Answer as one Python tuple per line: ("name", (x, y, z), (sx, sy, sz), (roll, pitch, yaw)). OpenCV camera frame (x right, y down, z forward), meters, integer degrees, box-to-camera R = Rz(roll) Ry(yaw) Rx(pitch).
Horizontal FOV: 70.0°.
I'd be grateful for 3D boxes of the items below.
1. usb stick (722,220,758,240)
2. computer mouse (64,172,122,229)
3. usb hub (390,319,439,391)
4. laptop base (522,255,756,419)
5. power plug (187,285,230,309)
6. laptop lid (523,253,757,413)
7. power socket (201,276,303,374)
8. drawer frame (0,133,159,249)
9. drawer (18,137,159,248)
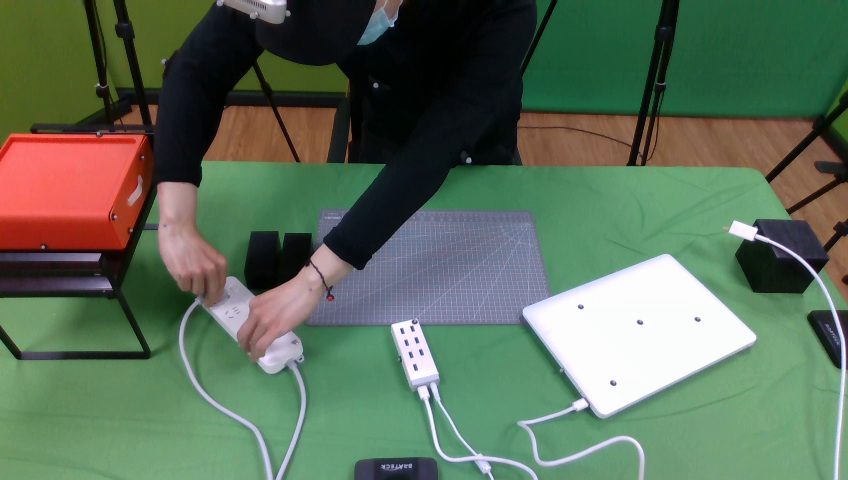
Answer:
("usb stick", (0.593, -0.022, 1.139), (0.059, 0.027, 0.021), (22, 12, 28))
("computer mouse", (-0.521, -0.067, 0.955), (0.063, 0.041, 0.116), (1, 48, -9))
("usb hub", (-0.016, 0.190, 1.013), (0.049, 0.025, 0.124), (-10, 48, -15))
("laptop base", (0.381, 0.157, 1.080), (0.355, 0.023, 0.234), (-18, 48, -20))
("power plug", (-0.370, 0.103, 1.039), (0.072, 0.053, 0.035), (-26, 54, -23))
("laptop lid", (0.380, 0.147, 1.073), (0.357, 0.013, 0.240), (-17, 48, -19))
("power socket", (-0.297, 0.141, 1.034), (0.225, 0.033, 0.072), (37, 55, 26))
("drawer frame", (-0.553, -0.078, 0.942), (0.214, 0.083, 0.200), (-1, 47, -4))
("drawer", (-0.549, -0.078, 0.944), (0.212, 0.073, 0.193), (0, 47, -3))
